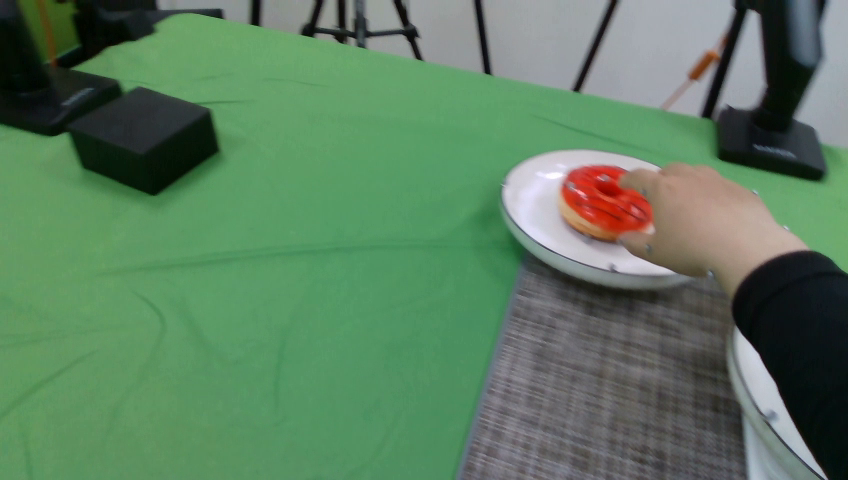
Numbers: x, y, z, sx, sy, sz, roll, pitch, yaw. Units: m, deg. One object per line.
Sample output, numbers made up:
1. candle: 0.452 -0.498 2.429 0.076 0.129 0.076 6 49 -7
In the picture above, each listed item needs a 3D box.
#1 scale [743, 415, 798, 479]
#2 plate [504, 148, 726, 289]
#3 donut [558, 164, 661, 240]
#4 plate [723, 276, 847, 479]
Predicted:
1. scale: 0.296 0.149 0.411 0.148 0.032 0.199 15 43 12
2. plate: 0.179 -0.022 0.590 0.209 0.038 0.207 3 39 -2
3. donut: 0.181 -0.037 0.592 0.099 0.048 0.098 4 40 -3
4. plate: 0.304 0.110 0.406 0.208 0.039 0.205 3 42 -3
